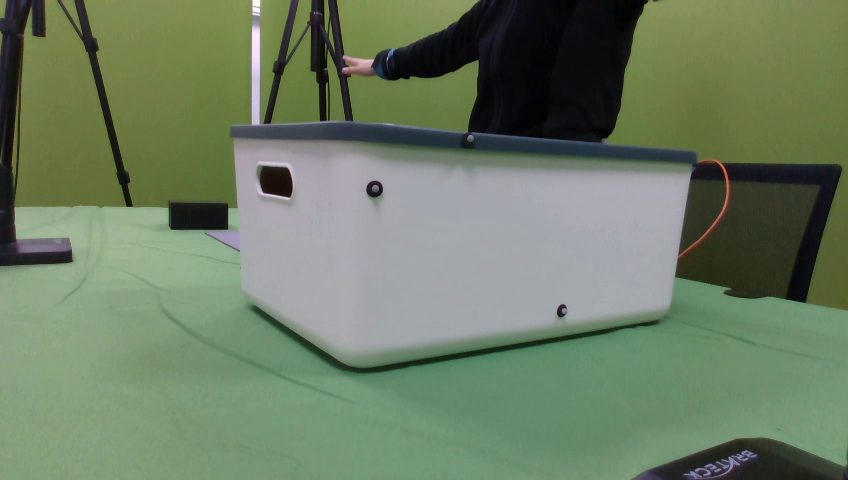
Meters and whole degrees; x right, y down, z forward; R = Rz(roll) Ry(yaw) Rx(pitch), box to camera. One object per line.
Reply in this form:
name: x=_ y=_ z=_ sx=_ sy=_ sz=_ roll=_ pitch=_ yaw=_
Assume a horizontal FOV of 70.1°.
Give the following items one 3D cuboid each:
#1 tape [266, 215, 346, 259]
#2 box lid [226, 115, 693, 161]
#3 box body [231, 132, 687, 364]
tape: x=-0.168 y=-0.006 z=0.872 sx=0.117 sy=0.052 sz=0.117 roll=3 pitch=7 yaw=0
box lid: x=0.031 y=-0.086 z=0.554 sx=0.373 sy=0.015 sz=0.262 roll=-2 pitch=8 yaw=-33
box body: x=0.031 y=-0.013 z=0.563 sx=0.366 sy=0.160 sz=0.253 roll=-3 pitch=8 yaw=-33
